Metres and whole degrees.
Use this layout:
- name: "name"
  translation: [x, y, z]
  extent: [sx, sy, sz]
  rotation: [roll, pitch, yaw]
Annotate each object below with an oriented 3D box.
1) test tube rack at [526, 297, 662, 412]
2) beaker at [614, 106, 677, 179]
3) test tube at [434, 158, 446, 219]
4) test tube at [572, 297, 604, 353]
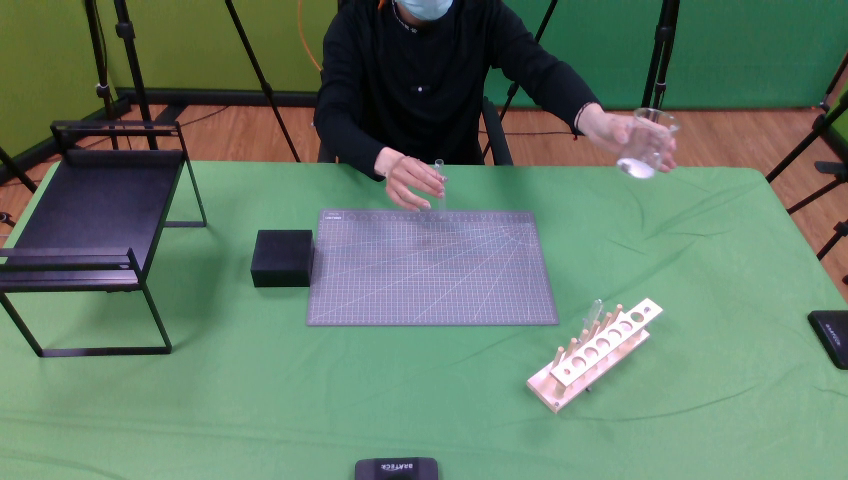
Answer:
- name: "test tube rack"
  translation: [0.284, 0.176, 1.007]
  extent: [0.242, 0.085, 0.066]
  rotation: [-29, 54, -27]
- name: "beaker"
  translation: [0.364, -0.157, 1.005]
  extent: [0.074, 0.100, 0.083]
  rotation: [7, 39, -5]
- name: "test tube"
  translation: [0.031, -0.093, 1.135]
  extent: [0.017, 0.151, 0.017]
  rotation: [-2, 49, 3]
- name: "test tube"
  translation: [0.263, 0.141, 0.977]
  extent: [0.017, 0.151, 0.017]
  rotation: [2, 47, -2]
